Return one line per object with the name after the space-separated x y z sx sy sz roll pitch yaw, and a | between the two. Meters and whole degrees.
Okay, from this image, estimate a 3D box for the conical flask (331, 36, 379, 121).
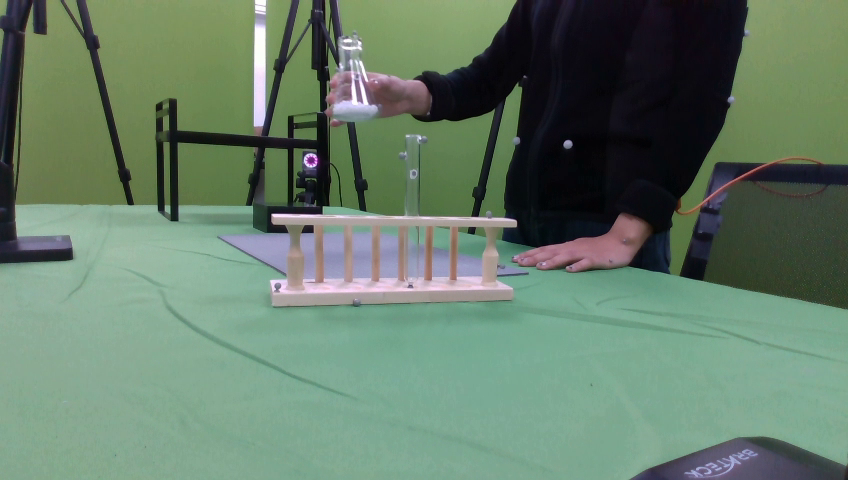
-0.111 -0.250 0.937 0.075 0.121 0.075 -5 0 0 | conical flask

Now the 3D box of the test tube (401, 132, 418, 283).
-0.014 -0.031 0.596 0.017 0.150 0.017 1 11 0 | test tube

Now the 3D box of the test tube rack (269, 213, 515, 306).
-0.032 0.015 0.617 0.243 0.085 0.066 0 7 -17 | test tube rack
